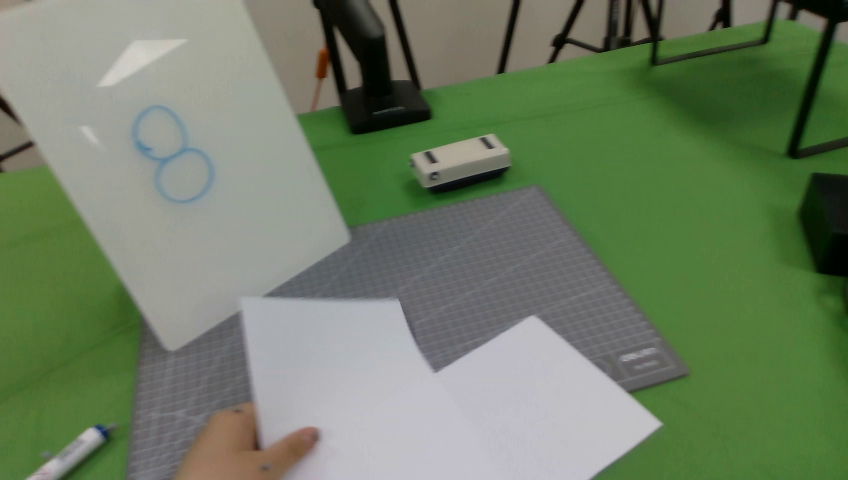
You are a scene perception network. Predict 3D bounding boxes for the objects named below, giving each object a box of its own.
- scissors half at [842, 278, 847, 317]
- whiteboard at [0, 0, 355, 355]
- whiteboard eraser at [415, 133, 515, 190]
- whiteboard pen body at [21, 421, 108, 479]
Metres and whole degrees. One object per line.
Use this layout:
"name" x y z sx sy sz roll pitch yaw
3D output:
"scissors half" 0.402 0.000 0.531 0.039 0.013 0.174 15 76 30
"whiteboard" -0.242 -0.086 0.601 0.217 0.308 0.142 -34 26 -29
"whiteboard eraser" 0.049 -0.093 0.733 0.113 0.042 0.055 -15 42 -12
"whiteboard pen body" -0.299 0.187 0.445 0.017 0.017 0.140 20 45 29
